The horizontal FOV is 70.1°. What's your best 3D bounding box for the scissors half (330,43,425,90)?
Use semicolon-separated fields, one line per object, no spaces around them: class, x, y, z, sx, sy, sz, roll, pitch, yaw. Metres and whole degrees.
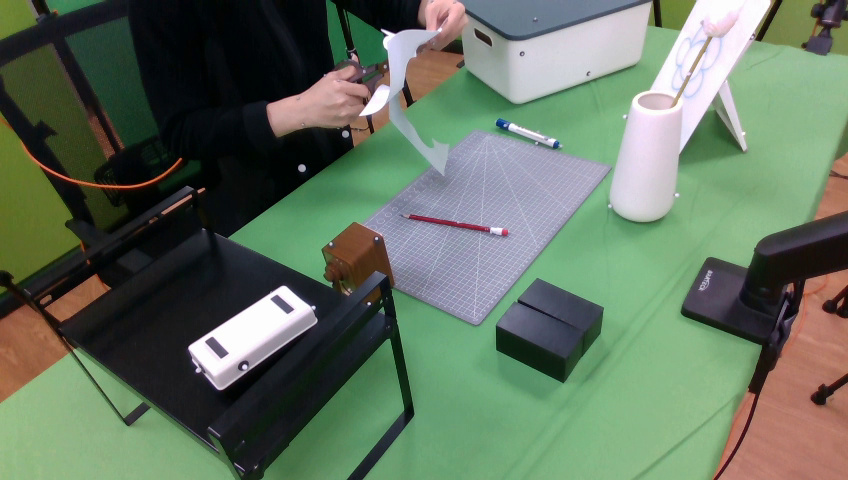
scissors half;-0.074;-0.268;0.919;0.174;0.040;0.013;-10;29;28

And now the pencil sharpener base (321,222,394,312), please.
pencil sharpener base;-0.096;0.041;0.873;0.061;0.107;0.077;26;54;32

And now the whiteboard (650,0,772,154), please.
whiteboard;0.543;-0.298;1.076;0.144;0.305;0.216;12;40;-7

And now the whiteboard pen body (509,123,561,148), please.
whiteboard pen body;0.209;-0.211;1.196;0.139;0.017;0.017;30;52;33

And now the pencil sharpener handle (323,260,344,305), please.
pencil sharpener handle;-0.131;0.062;0.839;0.035;0.068;0.031;29;56;28

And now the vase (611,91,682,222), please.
vase;0.348;-0.125;0.935;0.098;0.201;0.097;-3;40;3

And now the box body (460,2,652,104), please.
box body;0.291;-0.465;1.371;0.365;0.161;0.252;-22;42;-16

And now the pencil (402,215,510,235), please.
pencil;0.049;-0.027;1.007;0.193;0.012;0.012;10;43;21

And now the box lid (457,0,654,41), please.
box lid;0.285;-0.522;1.323;0.373;0.015;0.261;-22;43;-16

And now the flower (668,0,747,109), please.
flower;0.354;-0.187;0.879;0.038;0.362;0.044;30;48;14

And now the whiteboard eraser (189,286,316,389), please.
whiteboard eraser;-0.166;0.096;0.593;0.113;0.042;0.055;-36;47;-29

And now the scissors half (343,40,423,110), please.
scissors half;-0.062;-0.252;0.925;0.174;0.040;0.013;-34;12;36

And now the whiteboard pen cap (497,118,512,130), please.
whiteboard pen cap;0.165;-0.235;1.227;0.033;0.018;0.018;31;53;31
